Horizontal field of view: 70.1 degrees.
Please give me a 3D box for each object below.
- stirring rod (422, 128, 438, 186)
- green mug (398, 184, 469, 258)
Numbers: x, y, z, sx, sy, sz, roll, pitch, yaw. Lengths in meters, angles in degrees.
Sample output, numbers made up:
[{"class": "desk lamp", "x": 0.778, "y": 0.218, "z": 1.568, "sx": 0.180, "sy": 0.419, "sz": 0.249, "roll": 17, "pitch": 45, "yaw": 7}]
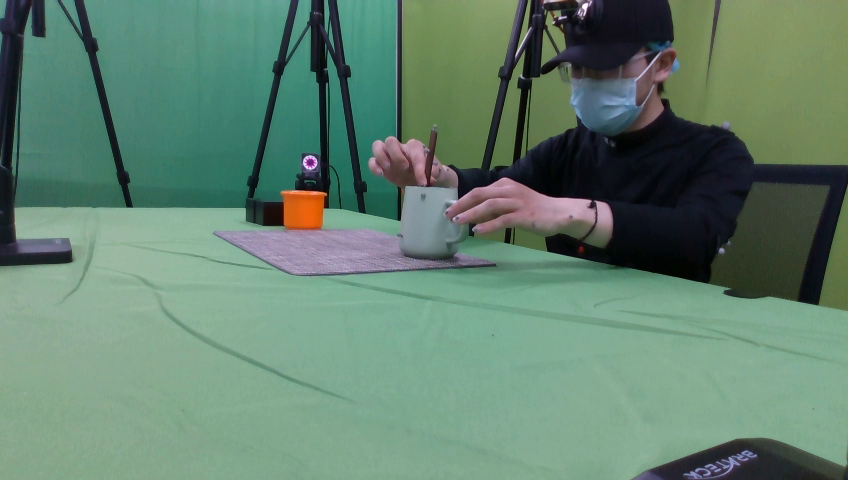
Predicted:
[{"class": "stirring rod", "x": 0.002, "y": -0.078, "z": 0.892, "sx": 0.006, "sy": 0.176, "sz": 0.014, "roll": -4, "pitch": 23, "yaw": -34}, {"class": "green mug", "x": 0.020, "y": -0.028, "z": 0.890, "sx": 0.093, "sy": 0.105, "sz": 0.124, "roll": -4, "pitch": 9, "yaw": -41}]
